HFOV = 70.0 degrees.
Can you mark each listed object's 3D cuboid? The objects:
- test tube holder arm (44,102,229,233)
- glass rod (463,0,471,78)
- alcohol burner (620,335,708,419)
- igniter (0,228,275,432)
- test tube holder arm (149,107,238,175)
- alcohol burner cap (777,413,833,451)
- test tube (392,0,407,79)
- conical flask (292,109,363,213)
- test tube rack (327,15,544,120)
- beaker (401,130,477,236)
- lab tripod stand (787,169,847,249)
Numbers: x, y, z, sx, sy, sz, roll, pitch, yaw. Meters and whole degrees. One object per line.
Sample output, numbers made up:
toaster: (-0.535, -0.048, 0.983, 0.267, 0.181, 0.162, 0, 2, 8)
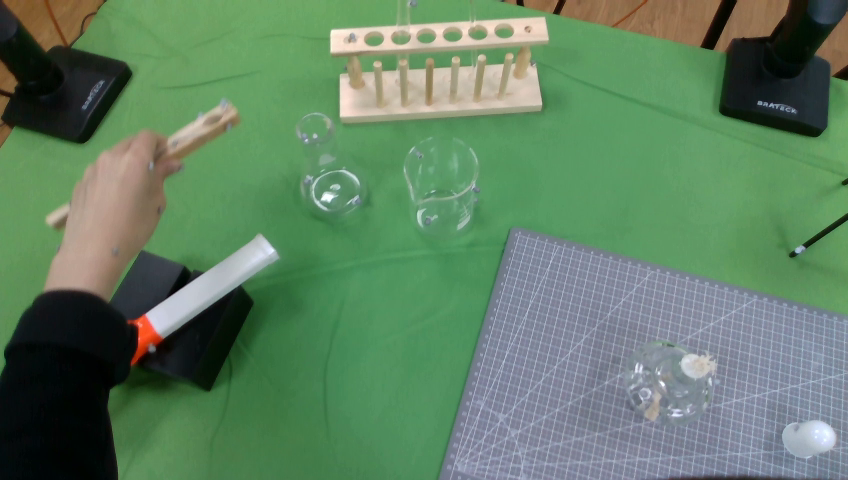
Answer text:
test tube holder arm: (-0.242, -0.064, 0.523, 0.178, 0.015, 0.013, -38, 74, -15)
glass rod: (0.046, -0.253, 0.659, 0.008, 0.201, 0.008, -3, 57, 4)
alcohol burner: (0.220, 0.118, 0.540, 0.078, 0.120, 0.077, 1, 64, -1)
igniter: (-0.262, 0.081, 0.563, 0.276, 0.025, 0.056, -38, 61, -16)
test tube holder arm: (-0.204, -0.087, 0.533, 0.088, 0.015, 0.010, -37, 73, -15)
alcohol burner cap: (0.350, 0.173, 0.552, 0.034, 0.048, 0.033, 0, 66, 0)
test tube: (-0.027, -0.236, 0.671, 0.017, 0.151, 0.017, 1, 59, -2)
conical flask: (-0.108, -0.087, 0.638, 0.075, 0.123, 0.074, 0, 65, 1)
test tube rack: (0.014, -0.200, 0.709, 0.242, 0.086, 0.066, -4, 65, -1)
beaker: (0.014, -0.052, 0.633, 0.073, 0.101, 0.083, 30, 69, 15)
lab tripod stand: (0.460, -0.036, 0.600, 0.148, 0.132, 0.147, 0, 65, -1)
